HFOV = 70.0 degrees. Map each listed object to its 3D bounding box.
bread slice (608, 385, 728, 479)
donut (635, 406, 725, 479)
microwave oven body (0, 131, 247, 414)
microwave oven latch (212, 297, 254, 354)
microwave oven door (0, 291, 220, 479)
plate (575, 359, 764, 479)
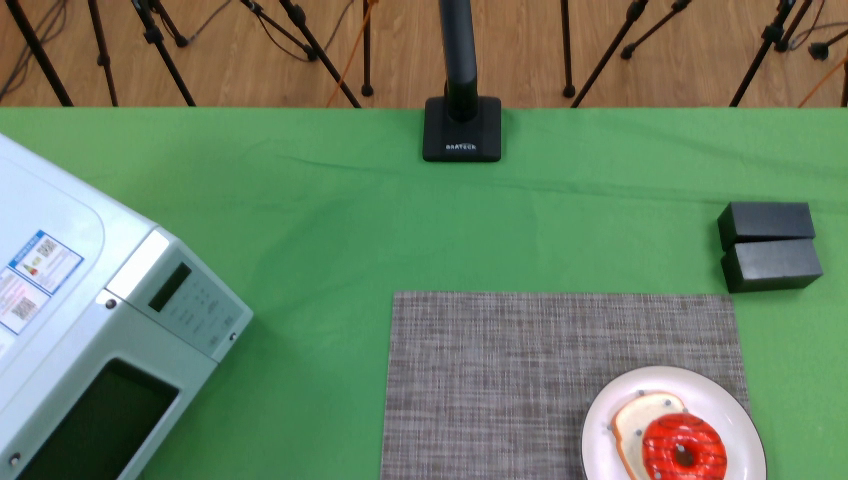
[{"bbox_3d":[0.279,0.239,0.714,0.105,0.019,0.130,-19,67,-6],"label":"bread slice"},{"bbox_3d":[0.287,0.237,0.681,0.099,0.048,0.098,0,66,1],"label":"donut"},{"bbox_3d":[-0.483,0.145,0.689,0.324,0.262,0.440,27,71,15],"label":"microwave oven body"},{"bbox_3d":[-0.258,0.109,0.796,0.030,0.030,0.079,29,71,16],"label":"microwave oven latch"},{"bbox_3d":[-0.379,0.239,0.633,0.039,0.246,0.354,27,70,16],"label":"microwave oven door"},{"bbox_3d":[0.281,0.246,0.708,0.207,0.039,0.206,-1,65,4],"label":"plate"}]
